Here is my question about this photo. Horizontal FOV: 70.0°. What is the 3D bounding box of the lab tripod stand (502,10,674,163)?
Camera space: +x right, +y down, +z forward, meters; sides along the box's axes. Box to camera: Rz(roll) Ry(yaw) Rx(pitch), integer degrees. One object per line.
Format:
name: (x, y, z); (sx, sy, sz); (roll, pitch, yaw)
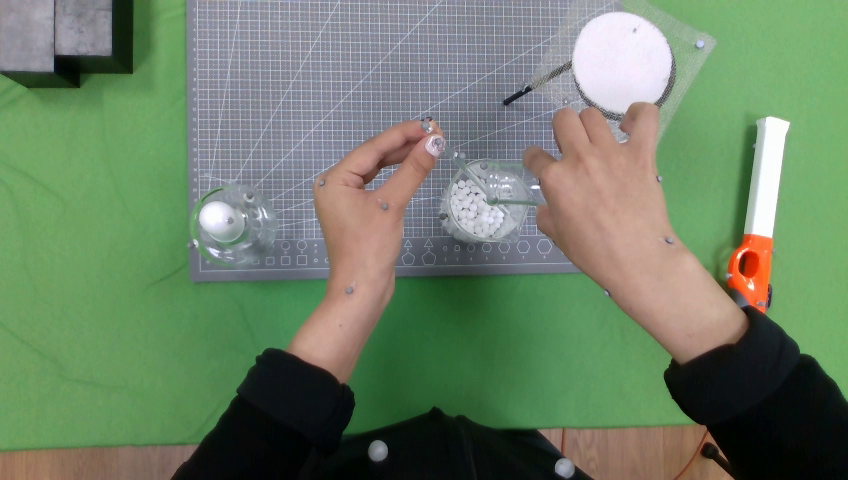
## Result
lab tripod stand: (0.159, -0.148, 0.576); (0.148, 0.131, 0.148); (0, 90, -4)

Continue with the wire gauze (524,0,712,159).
wire gauze: (0.163, -0.152, 0.509); (0.125, 0.011, 0.121); (31, 88, -4)

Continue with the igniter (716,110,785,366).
igniter: (0.350, -0.001, 0.648); (0.057, 0.025, 0.276); (10, 88, -16)

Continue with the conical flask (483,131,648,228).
conical flask: (0.109, -0.049, 0.479); (0.122, 0.075, 0.075); (2, 88, 9)

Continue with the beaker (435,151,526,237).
beaker: (0.051, -0.037, 0.580); (0.074, 0.100, 0.084); (-37, 92, -5)

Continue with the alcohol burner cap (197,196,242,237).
alcohol burner cap: (-0.174, -0.022, 0.512); (0.034, 0.048, 0.033); (1, 82, -8)

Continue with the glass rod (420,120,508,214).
glass rod: (0.040, -0.054, 0.502); (0.008, 0.201, 0.008); (-7, 72, 23)

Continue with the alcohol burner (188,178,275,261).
alcohol burner: (-0.178, -0.019, 0.548); (0.078, 0.119, 0.078); (0, 89, -4)
